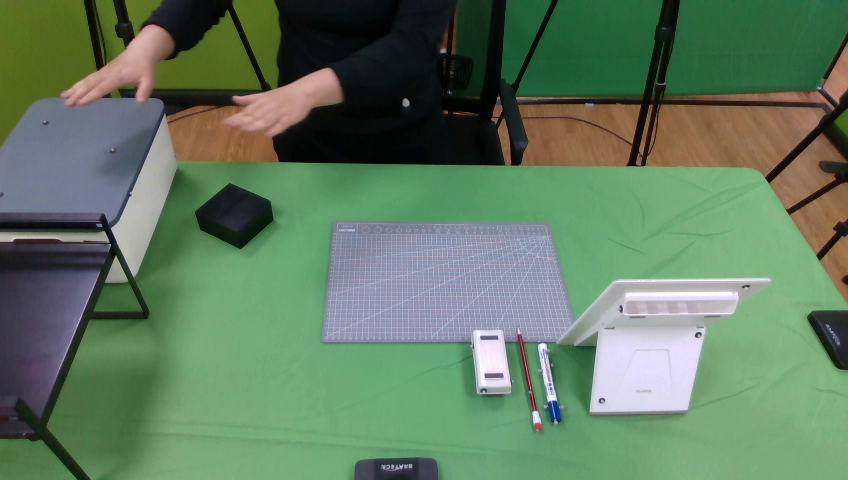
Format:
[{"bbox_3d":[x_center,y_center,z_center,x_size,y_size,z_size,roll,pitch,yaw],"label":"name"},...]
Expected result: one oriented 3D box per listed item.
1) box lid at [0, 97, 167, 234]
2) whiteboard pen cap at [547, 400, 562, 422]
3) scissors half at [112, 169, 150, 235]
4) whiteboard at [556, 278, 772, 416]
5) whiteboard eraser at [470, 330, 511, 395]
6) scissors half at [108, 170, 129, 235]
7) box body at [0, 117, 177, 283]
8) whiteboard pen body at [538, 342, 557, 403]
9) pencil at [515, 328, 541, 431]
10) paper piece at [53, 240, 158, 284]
[{"bbox_3d":[-0.635,-0.146,1.086,0.263,0.015,0.369,0,46,-4],"label":"box lid"},{"bbox_3d":[0.205,0.269,0.956,0.018,0.018,0.033,0,47,-5],"label":"whiteboard pen cap"},{"bbox_3d":[-0.596,-0.078,1.225,0.040,0.013,0.174,7,53,1],"label":"scissors half"},{"bbox_3d":[0.347,0.174,0.903,0.217,0.306,0.143,1,65,-4],"label":"whiteboard"},{"bbox_3d":[0.109,0.202,0.998,0.055,0.042,0.112,1,46,-5],"label":"whiteboard eraser"},{"bbox_3d":[-0.617,-0.077,1.223,0.040,0.013,0.174,-14,54,-8],"label":"scissors half"},{"bbox_3d":[-0.640,-0.095,1.140,0.254,0.161,0.361,0,46,-4],"label":"box body"},{"bbox_3d":[0.205,0.228,0.997,0.017,0.017,0.140,1,47,-3],"label":"whiteboard pen body"},{"bbox_3d":[0.169,0.224,1.002,0.012,0.012,0.192,-2,46,-6],"label":"pencil"},{"bbox_3d":[-0.593,0.037,1.135,0.136,0.009,0.137,3,33,8],"label":"paper piece"}]
